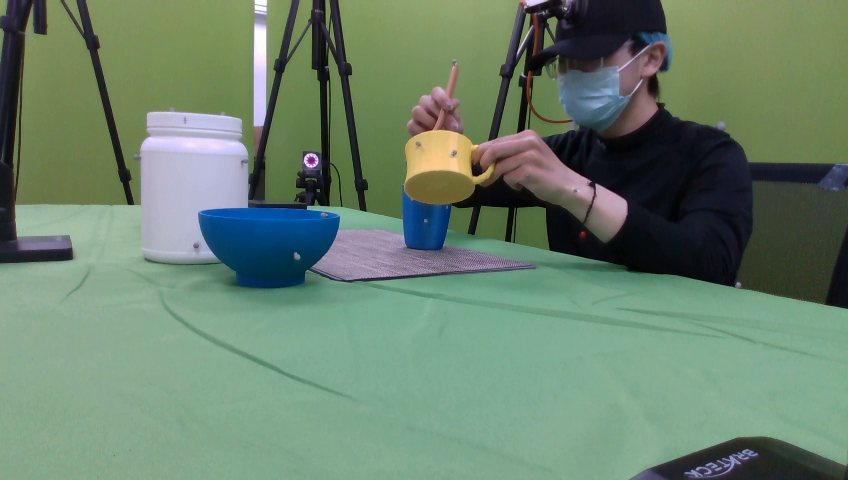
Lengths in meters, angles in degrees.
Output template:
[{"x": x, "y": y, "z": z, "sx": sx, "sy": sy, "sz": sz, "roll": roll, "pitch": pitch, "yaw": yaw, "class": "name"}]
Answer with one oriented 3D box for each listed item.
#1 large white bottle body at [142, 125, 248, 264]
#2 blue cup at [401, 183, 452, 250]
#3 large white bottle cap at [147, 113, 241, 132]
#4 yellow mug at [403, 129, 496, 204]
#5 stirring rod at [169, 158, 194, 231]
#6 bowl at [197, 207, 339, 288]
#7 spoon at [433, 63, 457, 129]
[{"x": -0.300, "y": -0.068, "z": 0.797, "sx": 0.131, "sy": 0.184, "sz": 0.130, "roll": 2, "pitch": 7, "yaw": 0, "class": "large white bottle body"}, {"x": 0.003, "y": -0.038, "z": 0.966, "sx": 0.093, "sy": 0.100, "sz": 0.092, "roll": 4, "pitch": 8, "yaw": 0, "class": "blue cup"}, {"x": -0.297, "y": -0.151, "z": 0.786, "sx": 0.115, "sy": 0.018, "sz": 0.115, "roll": 2, "pitch": 7, "yaw": 0, "class": "large white bottle cap"}, {"x": 0.037, "y": -0.104, "z": 0.848, "sx": 0.130, "sy": 0.064, "sz": 0.100, "roll": -5, "pitch": -25, "yaw": 14, "class": "yellow mug"}, {"x": -0.424, "y": -0.082, "z": 1.060, "sx": 0.014, "sy": 0.006, "sz": 0.175, "roll": 2, "pitch": 50, "yaw": -10, "class": "stirring rod"}, {"x": -0.171, "y": 0.008, "z": 0.671, "sx": 0.151, "sy": 0.077, "sz": 0.151, "roll": 2, "pitch": 7, "yaw": 0, "class": "bowl"}, {"x": 0.019, "y": -0.172, "z": 0.884, "sx": 0.021, "sy": 0.193, "sz": 0.042, "roll": 13, "pitch": -12, "yaw": 40, "class": "spoon"}]
